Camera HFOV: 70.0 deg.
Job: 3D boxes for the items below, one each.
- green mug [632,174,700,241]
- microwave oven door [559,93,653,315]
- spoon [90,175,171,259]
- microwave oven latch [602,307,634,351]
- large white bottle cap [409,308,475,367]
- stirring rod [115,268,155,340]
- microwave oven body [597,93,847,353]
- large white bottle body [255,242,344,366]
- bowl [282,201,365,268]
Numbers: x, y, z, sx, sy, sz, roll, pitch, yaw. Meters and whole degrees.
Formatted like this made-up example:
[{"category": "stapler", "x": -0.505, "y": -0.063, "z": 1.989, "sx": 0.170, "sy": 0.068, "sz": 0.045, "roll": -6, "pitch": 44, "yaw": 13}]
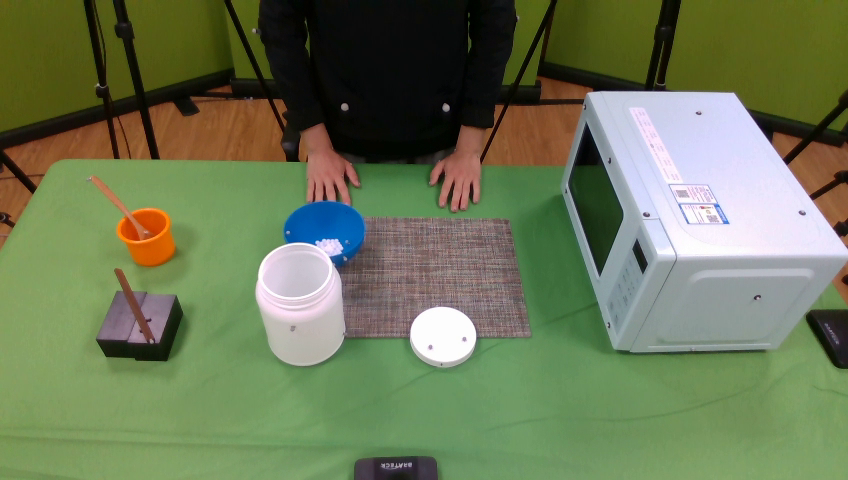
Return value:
[{"category": "green mug", "x": 0.456, "y": -0.057, "z": 1.154, "sx": 0.125, "sy": 0.105, "sz": 0.092, "roll": -14, "pitch": 45, "yaw": -10}, {"category": "microwave oven door", "x": 0.327, "y": -0.074, "z": 1.123, "sx": 0.039, "sy": 0.245, "sz": 0.353, "roll": -1, "pitch": 46, "yaw": -5}, {"category": "spoon", "x": -0.539, "y": -0.042, "z": 1.112, "sx": 0.021, "sy": 0.194, "sz": 0.041, "roll": -13, "pitch": 27, "yaw": 52}, {"category": "microwave oven latch", "x": 0.332, "y": 0.153, "z": 1.044, "sx": 0.030, "sy": 0.029, "sz": 0.078, "roll": 0, "pitch": 45, "yaw": -4}, {"category": "large white bottle cap", "x": 0.031, "y": 0.165, "z": 1.041, "sx": 0.115, "sy": 0.018, "sz": 0.114, "roll": 2, "pitch": 46, "yaw": -2}, {"category": "stirring rod", "x": -0.478, "y": 0.103, "z": 0.999, "sx": 0.014, "sy": 0.006, "sz": 0.175, "roll": 7, "pitch": 32, "yaw": -49}, {"category": "microwave oven body", "x": 0.475, "y": -0.041, "z": 1.110, "sx": 0.326, "sy": 0.261, "sz": 0.438, "roll": -1, "pitch": 45, "yaw": -4}, {"category": "large white bottle body", "x": -0.196, "y": 0.102, "z": 0.967, "sx": 0.131, "sy": 0.185, "sz": 0.130, "roll": 2, "pitch": 49, "yaw": -2}, {"category": "bowl", "x": -0.187, "y": 0.005, "z": 1.137, "sx": 0.151, "sy": 0.077, "sz": 0.150, "roll": 3, "pitch": 46, "yaw": -3}]
